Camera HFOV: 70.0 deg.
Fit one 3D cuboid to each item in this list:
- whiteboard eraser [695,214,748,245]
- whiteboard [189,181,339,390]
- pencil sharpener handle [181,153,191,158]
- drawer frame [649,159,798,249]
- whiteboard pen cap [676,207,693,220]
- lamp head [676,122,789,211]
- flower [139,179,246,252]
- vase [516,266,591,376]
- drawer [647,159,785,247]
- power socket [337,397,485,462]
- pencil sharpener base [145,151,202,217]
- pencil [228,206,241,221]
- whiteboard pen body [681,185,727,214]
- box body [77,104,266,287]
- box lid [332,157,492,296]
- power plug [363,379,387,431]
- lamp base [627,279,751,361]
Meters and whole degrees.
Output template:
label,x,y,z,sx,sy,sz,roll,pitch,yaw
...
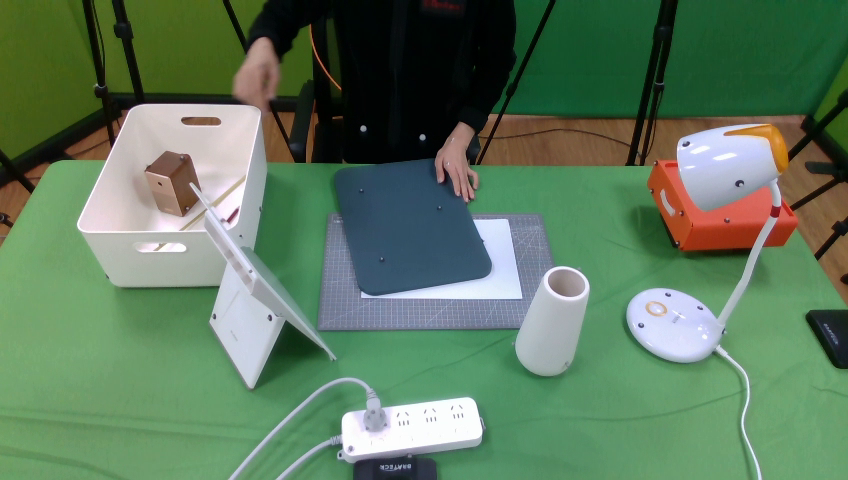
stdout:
label,x,y,z,sx,sy,sz,roll,pitch,yaw
whiteboard eraser,0.592,-0.019,1.209,0.113,0.042,0.055,11,27,-36
whiteboard,-0.292,0.096,0.929,0.144,0.307,0.216,-37,57,-10
pencil sharpener handle,-0.478,-0.156,1.225,0.036,0.068,0.030,23,48,3
drawer frame,0.588,-0.077,1.218,0.214,0.083,0.200,-2,45,-5
whiteboard pen cap,0.524,-0.053,1.216,0.033,0.018,0.018,-28,54,-23
lamp head,0.423,-0.104,0.819,0.122,0.113,0.112,-13,33,40
flower,-0.442,-0.046,1.193,0.044,0.038,0.361,44,49,-6
vase,0.208,0.132,0.964,0.098,0.201,0.097,3,46,-3
drawer,0.582,-0.079,1.214,0.212,0.073,0.193,-1,46,-5
power socket,-0.018,0.285,0.915,0.227,0.033,0.071,-5,46,-8
pencil sharpener base,-0.491,-0.112,1.199,0.061,0.107,0.076,15,47,12
pencil,-0.402,-0.009,1.176,0.012,0.012,0.193,14,44,9
whiteboard pen body,0.571,-0.081,1.237,0.141,0.017,0.017,-26,54,-24
box body,-0.446,-0.088,1.150,0.254,0.161,0.361,-1,46,-5
box lid,-0.034,-0.041,1.241,0.264,0.015,0.369,-9,47,-12
power plug,-0.072,0.252,0.910,0.035,0.053,0.072,3,45,-1
lamp base,0.459,0.100,1.027,0.178,0.181,0.160,27,51,17
